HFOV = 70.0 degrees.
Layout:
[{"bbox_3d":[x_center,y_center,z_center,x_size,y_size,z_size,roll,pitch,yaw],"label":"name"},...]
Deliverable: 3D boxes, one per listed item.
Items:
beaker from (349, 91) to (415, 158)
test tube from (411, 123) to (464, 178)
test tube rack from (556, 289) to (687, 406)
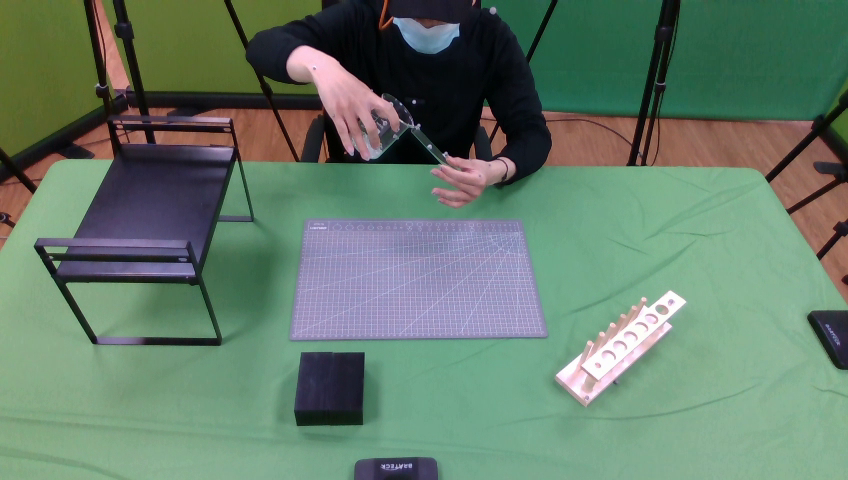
[{"bbox_3d":[-0.076,-0.200,1.076,0.084,0.100,0.073,35,29,-27],"label":"beaker"},{"bbox_3d":[0.027,-0.162,1.121,0.017,0.151,0.017,-28,40,27],"label":"test tube"},{"bbox_3d":[0.332,0.165,1.014,0.242,0.085,0.066,-30,55,-28],"label":"test tube rack"}]
